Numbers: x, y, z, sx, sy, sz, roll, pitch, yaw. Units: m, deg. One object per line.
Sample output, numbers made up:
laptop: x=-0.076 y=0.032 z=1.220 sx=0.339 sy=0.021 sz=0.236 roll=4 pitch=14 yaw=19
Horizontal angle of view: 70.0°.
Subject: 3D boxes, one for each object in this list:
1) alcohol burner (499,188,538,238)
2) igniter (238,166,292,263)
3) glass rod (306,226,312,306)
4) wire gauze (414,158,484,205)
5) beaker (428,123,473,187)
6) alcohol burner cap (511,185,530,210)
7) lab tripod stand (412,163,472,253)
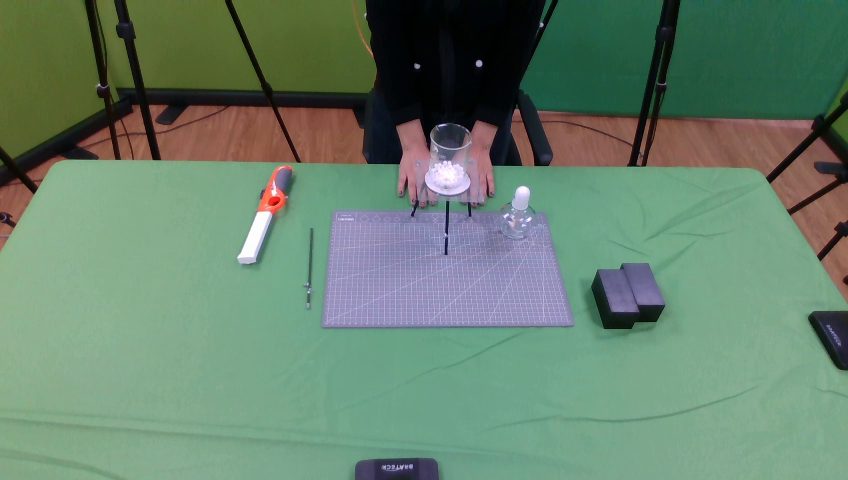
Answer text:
alcohol burner: x=0.189 y=-0.060 z=1.202 sx=0.078 sy=0.120 sz=0.077 roll=1 pitch=48 yaw=-1
igniter: x=-0.318 y=-0.060 z=1.230 sx=0.057 sy=0.025 sz=0.275 roll=-2 pitch=45 yaw=10
glass rod: x=-0.218 y=0.045 z=1.148 sx=0.008 sy=0.008 sz=0.198 roll=-3 pitch=47 yaw=-6
wire gauze: x=0.045 y=-0.113 z=1.137 sx=0.125 sy=0.011 sz=0.120 roll=2 pitch=48 yaw=-6
beaker: x=0.044 y=-0.154 z=1.109 sx=0.074 sy=0.101 sz=0.083 roll=-25 pitch=54 yaw=-25
alcohol burner cap: x=0.190 y=-0.086 z=1.176 sx=0.034 sy=0.048 sz=0.033 roll=3 pitch=50 yaw=-3
lab tripod stand: x=0.043 y=-0.070 z=1.187 sx=0.148 sy=0.132 sz=0.147 roll=3 pitch=47 yaw=-3
